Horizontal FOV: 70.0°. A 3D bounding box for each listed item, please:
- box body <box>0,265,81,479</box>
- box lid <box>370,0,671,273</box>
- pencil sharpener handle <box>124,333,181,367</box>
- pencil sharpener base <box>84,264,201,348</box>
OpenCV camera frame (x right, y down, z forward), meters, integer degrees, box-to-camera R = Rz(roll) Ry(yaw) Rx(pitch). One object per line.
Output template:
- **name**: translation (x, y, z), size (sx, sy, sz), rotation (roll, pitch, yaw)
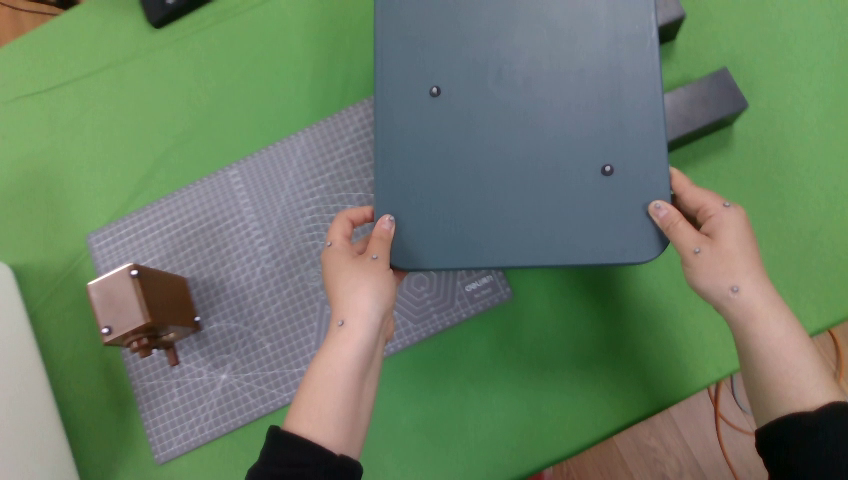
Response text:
- **box body**: translation (-0.564, 0.212, 0.659), size (0.254, 0.161, 0.362), rotation (-28, 76, 2)
- **box lid**: translation (0.080, -0.157, 0.560), size (0.263, 0.015, 0.370), rotation (-3, 81, 7)
- **pencil sharpener handle**: translation (-0.286, 0.121, 0.648), size (0.036, 0.068, 0.030), rotation (-27, 76, 9)
- **pencil sharpener base**: translation (-0.307, 0.079, 0.672), size (0.061, 0.107, 0.076), rotation (-26, 76, 3)
